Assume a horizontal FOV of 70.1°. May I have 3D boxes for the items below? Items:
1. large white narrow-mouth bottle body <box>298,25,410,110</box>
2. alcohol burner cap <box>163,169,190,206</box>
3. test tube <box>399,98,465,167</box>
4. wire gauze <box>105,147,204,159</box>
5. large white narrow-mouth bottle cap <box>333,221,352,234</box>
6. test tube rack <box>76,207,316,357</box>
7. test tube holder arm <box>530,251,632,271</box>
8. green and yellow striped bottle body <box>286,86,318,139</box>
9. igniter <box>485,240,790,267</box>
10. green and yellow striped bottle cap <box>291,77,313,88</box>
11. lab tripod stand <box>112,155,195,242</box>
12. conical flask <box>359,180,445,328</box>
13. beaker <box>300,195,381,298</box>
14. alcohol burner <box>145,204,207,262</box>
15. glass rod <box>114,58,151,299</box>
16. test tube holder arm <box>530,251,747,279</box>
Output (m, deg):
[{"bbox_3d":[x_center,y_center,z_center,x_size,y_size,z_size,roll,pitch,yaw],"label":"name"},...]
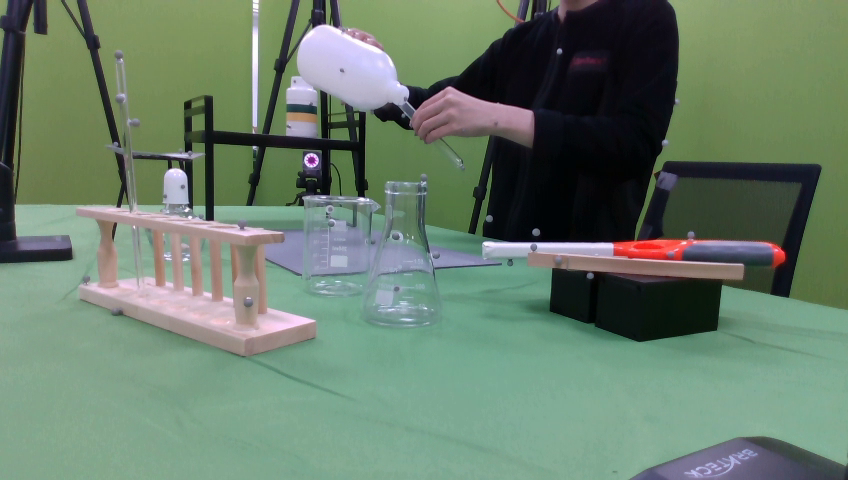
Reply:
[{"bbox_3d":[-0.106,-0.270,0.982,0.194,0.101,0.102,31,20,23],"label":"large white narrow-mouth bottle body"},{"bbox_3d":[-0.320,-0.068,0.782,0.034,0.048,0.034,1,7,0],"label":"alcohol burner cap"},{"bbox_3d":[0.012,-0.164,0.922,0.150,0.017,0.017,49,28,19],"label":"test tube"},{"bbox_3d":[-0.407,-0.131,0.928,0.125,0.011,0.121,2,6,-11],"label":"wire gauze"},{"bbox_3d":[-0.152,-0.024,1.134,0.038,0.024,0.037,4,7,0],"label":"large white narrow-mouth bottle cap"},{"bbox_3d":[-0.196,0.023,0.500,0.241,0.085,0.067,8,9,36],"label":"test tube rack"},{"bbox_3d":[0.139,0.019,0.538,0.087,0.015,0.010,3,7,13],"label":"test tube holder arm"},{"bbox_3d":[-0.251,-0.270,1.245,0.063,0.119,0.063,2,7,0],"label":"green and yellow striped bottle body"},{"bbox_3d":[0.197,0.012,0.585,0.276,0.025,0.057,1,5,12],"label":"igniter"},{"bbox_3d":[-0.250,-0.321,1.238,0.045,0.020,0.045,3,6,0],"label":"green and yellow striped bottle cap"},{"bbox_3d":[-0.405,-0.064,0.931,0.148,0.131,0.148,1,6,0],"label":"lab tripod stand"},{"bbox_3d":[-0.017,0.010,0.522,0.075,0.122,0.075,2,7,0],"label":"conical flask"},{"bbox_3d":[-0.087,0.006,0.626,0.084,0.100,0.074,1,8,-17],"label":"beaker"},{"bbox_3d":[-0.322,-0.032,0.788,0.078,0.119,0.078,0,7,0],"label":"alcohol burner"},{"bbox_3d":[-0.236,-0.044,0.492,0.008,0.199,0.008,0,15,0],"label":"glass rod"},{"bbox_3d":[0.182,0.022,0.523,0.178,0.015,0.013,3,7,12],"label":"test tube holder arm"}]
